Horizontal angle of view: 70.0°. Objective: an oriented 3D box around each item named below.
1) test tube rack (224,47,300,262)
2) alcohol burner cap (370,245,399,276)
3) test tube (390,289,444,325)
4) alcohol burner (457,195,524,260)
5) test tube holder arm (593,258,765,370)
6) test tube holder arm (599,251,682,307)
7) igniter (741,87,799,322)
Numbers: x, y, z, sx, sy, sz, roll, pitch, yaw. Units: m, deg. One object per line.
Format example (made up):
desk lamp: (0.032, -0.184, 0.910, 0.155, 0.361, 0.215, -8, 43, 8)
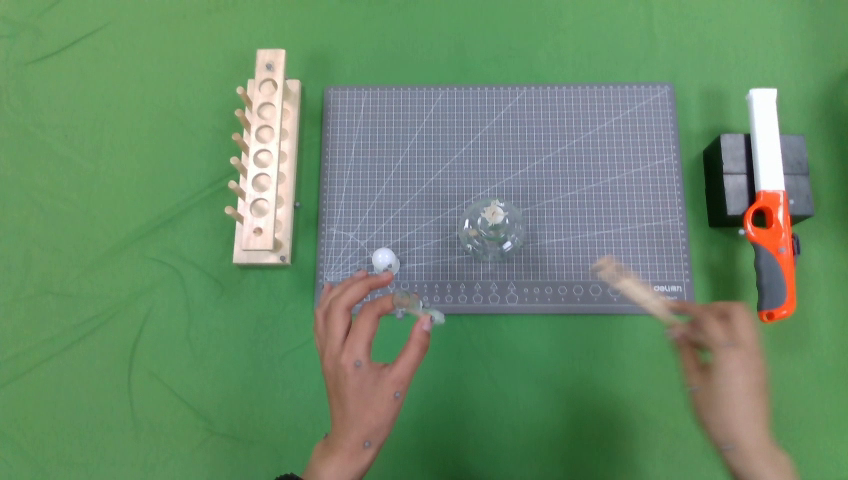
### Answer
test tube rack: (-0.197, -0.100, 0.724, 0.067, 0.085, 0.241, 0, 77, 1)
alcohol burner cap: (-0.048, 0.022, 0.712, 0.034, 0.048, 0.033, 0, 76, 2)
test tube: (-0.002, 0.061, 0.531, 0.017, 0.151, 0.017, -3, 77, 12)
alcohol burner: (0.076, -0.018, 0.683, 0.078, 0.119, 0.077, 0, 78, 2)
test tube holder arm: (0.241, 0.070, 0.577, 0.178, 0.015, 0.013, 35, 73, 8)
test tube holder arm: (0.208, 0.040, 0.585, 0.087, 0.015, 0.010, 35, 73, 8)
igniter: (0.388, -0.045, 0.684, 0.057, 0.025, 0.275, 2, 76, 8)
